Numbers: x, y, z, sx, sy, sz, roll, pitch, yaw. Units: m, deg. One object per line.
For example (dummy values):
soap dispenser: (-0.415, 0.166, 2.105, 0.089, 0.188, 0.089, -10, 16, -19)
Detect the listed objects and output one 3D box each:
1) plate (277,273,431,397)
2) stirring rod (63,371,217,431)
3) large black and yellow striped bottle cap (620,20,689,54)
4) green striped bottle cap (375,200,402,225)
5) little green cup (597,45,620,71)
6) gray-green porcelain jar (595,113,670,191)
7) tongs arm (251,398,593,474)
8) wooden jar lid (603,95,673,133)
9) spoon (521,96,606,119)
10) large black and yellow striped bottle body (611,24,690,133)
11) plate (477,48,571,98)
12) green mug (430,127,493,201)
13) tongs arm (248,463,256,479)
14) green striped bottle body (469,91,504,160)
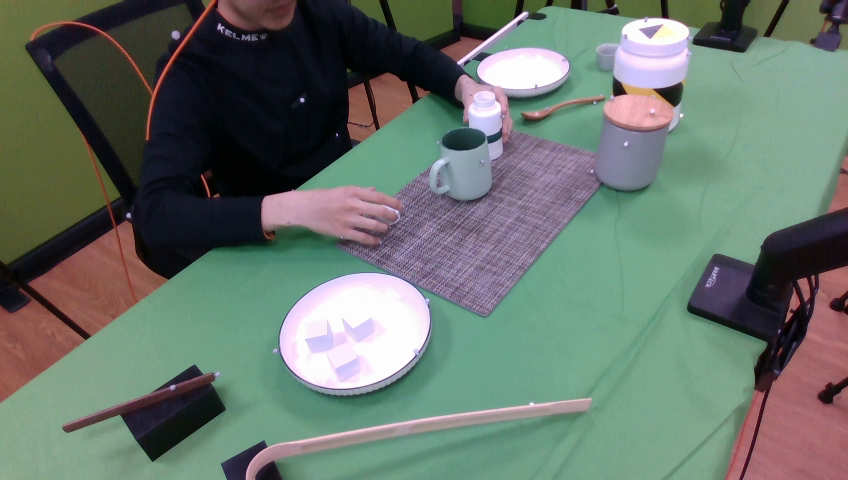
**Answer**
plate: (-0.091, 0.129, 0.821, 0.207, 0.039, 0.206, -4, 40, 4)
stirring rod: (-0.337, 0.192, 0.723, 0.177, 0.014, 0.005, -18, 42, -12)
large black and yellow striped bottle cap: (0.411, -0.363, 1.080, 0.115, 0.019, 0.114, -4, 42, 4)
green striped bottle cap: (-0.060, -0.047, 1.027, 0.044, 0.020, 0.044, -17, 40, 16)
little green cup: (0.423, -0.413, 1.376, 0.061, 0.039, 0.061, -4, 41, 4)
gray-green porcelain jar: (0.346, -0.155, 1.017, 0.106, 0.127, 0.105, -2, 44, 2)
tongs arm: (0.008, 0.212, 0.675, 0.389, 0.028, 0.028, -5, 46, -11)
wooden jar lid: (0.343, -0.200, 0.974, 0.108, 0.021, 0.108, -2, 39, 2)
spoon: (0.291, -0.277, 1.249, 0.194, 0.022, 0.041, -18, 23, -11)
large black and yellow striped bottle body: (0.420, -0.299, 1.132, 0.131, 0.185, 0.130, -4, 40, 4)
plate: (0.223, -0.371, 1.357, 0.209, 0.038, 0.208, -4, 41, 4)
green mug: (0.060, -0.122, 1.034, 0.126, 0.105, 0.091, -35, 48, -28)
tongs arm: (0.012, 0.262, 0.615, 0.385, 0.026, 0.050, 2, 42, -2)
green striped bottle body: (0.116, -0.213, 1.120, 0.063, 0.120, 0.063, -4, 40, 4)
